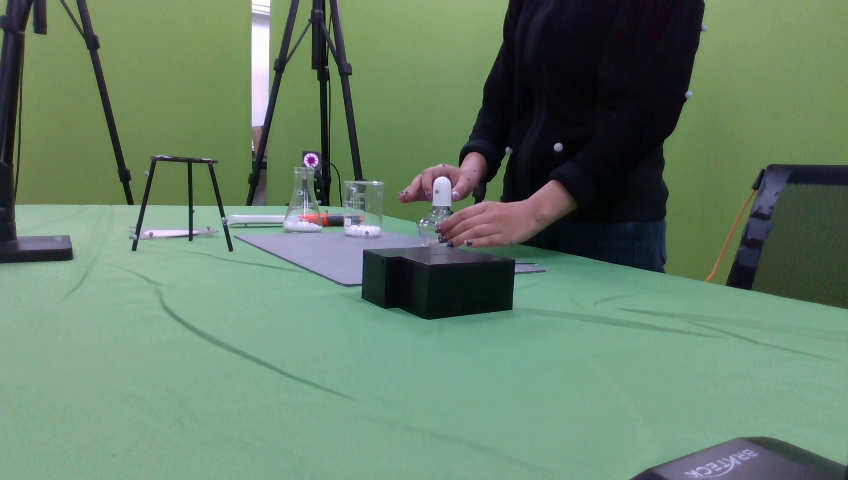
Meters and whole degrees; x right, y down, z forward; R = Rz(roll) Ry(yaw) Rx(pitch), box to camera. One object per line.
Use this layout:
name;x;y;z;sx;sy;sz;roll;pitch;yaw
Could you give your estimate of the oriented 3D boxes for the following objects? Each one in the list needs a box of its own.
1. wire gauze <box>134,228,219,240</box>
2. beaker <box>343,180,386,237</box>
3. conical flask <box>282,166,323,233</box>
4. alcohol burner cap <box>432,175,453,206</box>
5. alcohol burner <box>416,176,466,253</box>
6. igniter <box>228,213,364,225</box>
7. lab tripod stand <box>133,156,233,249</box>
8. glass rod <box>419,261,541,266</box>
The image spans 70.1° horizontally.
wire gauze;-0.421;-0.014;1.024;0.122;0.011;0.124;-2;7;-34
beaker;-0.111;-0.058;1.090;0.083;0.100;0.074;7;8;34
conical flask;-0.225;-0.077;1.129;0.075;0.122;0.075;2;8;0
alcohol burner cap;0.028;-0.076;0.930;0.034;0.048;0.034;0;6;0
alcohol burner;0.027;-0.040;0.934;0.078;0.119;0.078;2;10;0
igniter;-0.252;-0.043;1.227;0.278;0.025;0.057;-2;-3;-32
lab tripod stand;-0.342;-0.054;0.878;0.148;0.131;0.148;4;6;0
glass rod;0.080;0.031;0.807;0.201;0.008;0.008;1;6;-32
